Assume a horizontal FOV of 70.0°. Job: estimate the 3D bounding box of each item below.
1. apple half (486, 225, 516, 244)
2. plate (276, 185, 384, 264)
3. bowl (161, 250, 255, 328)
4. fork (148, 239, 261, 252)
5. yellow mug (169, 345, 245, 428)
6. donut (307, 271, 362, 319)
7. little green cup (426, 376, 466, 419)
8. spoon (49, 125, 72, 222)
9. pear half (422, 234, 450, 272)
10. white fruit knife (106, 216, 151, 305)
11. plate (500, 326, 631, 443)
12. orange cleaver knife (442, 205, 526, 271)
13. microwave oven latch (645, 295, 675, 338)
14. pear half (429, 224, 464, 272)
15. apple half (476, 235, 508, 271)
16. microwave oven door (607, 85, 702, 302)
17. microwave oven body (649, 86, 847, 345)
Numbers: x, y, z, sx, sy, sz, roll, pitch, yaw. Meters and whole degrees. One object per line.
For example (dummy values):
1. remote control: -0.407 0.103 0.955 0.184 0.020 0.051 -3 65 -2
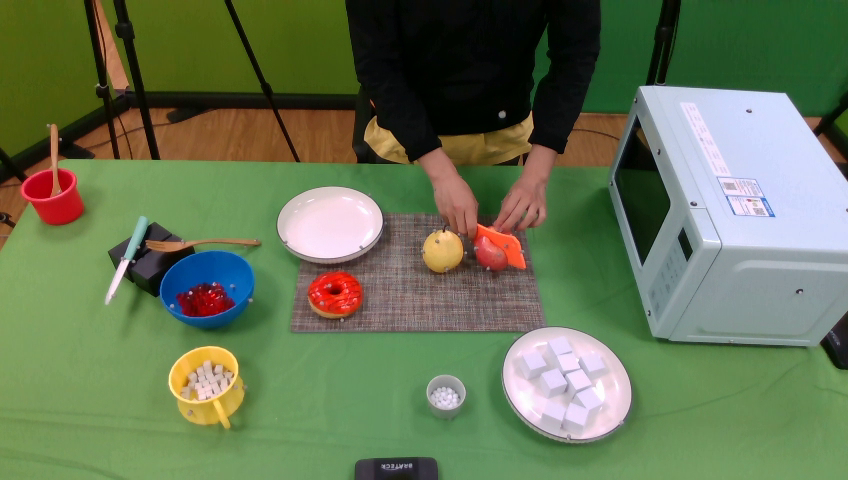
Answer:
1. apple half: 0.149 0.008 1.160 0.053 0.075 0.080 -28 49 -33
2. plate: -0.184 -0.027 1.195 0.209 0.038 0.208 2 46 -2
3. bowl: -0.362 0.097 1.040 0.151 0.077 0.150 2 45 -2
4. fork: -0.399 0.007 1.118 0.208 0.019 0.028 -4 36 -37
5. yellow mug: -0.322 0.230 0.922 0.100 0.064 0.130 -24 53 -25
6. donut: -0.157 0.097 1.073 0.099 0.048 0.098 4 45 -4
7. little green cup: 0.033 0.248 0.950 0.061 0.039 0.061 2 46 -2
8. spoon: -0.717 -0.131 1.189 0.042 0.021 0.193 -3 90 -7
9. pear half: 0.017 0.027 1.121 0.031 0.088 0.070 -32 61 -30
10. white fruit knife: -0.519 0.032 1.066 0.027 0.016 0.206 -18 45 20
11. plate: 0.224 0.234 0.978 0.208 0.039 0.206 2 46 -2
12. orange cleaver knife: 0.110 -0.005 1.142 0.012 0.077 0.210 -31 42 -30
13. microwave oven latch: 0.411 0.134 1.061 0.030 0.029 0.078 3 45 0
14. pear half: 0.045 0.005 1.131 0.056 0.110 0.076 -32 60 -29
15. apple half: 0.120 0.033 1.136 0.033 0.082 0.081 -38 58 -26
16. microwave oven door: 0.423 -0.094 1.140 0.039 0.245 0.353 2 46 -1
17. microwave oven body: 0.567 -0.053 1.119 0.326 0.261 0.439 2 45 -1
